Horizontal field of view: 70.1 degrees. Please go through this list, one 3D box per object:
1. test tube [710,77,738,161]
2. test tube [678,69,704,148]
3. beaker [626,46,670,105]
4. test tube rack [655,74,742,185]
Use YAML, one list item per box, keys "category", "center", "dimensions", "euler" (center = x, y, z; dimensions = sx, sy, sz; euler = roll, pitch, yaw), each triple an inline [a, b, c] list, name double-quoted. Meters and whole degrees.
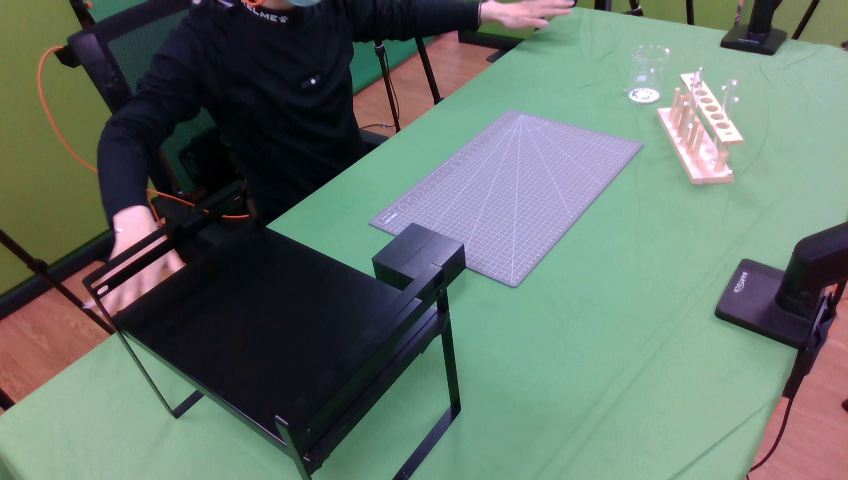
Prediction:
- category: "test tube"
  center: [0.498, -0.198, 1.008]
  dimensions: [0.017, 0.151, 0.017]
  euler: [-3, 37, 3]
- category: "test tube"
  center: [0.465, -0.228, 1.054]
  dimensions: [0.017, 0.151, 0.017]
  euler: [-4, 41, 4]
- category: "beaker"
  center: [0.457, -0.336, 1.240]
  dimensions: [0.084, 0.101, 0.073]
  euler: [-12, 41, -6]
- category: "test tube rack"
  center: [0.488, -0.205, 1.093]
  dimensions: [0.067, 0.085, 0.241]
  euler: [-3, 41, 5]
